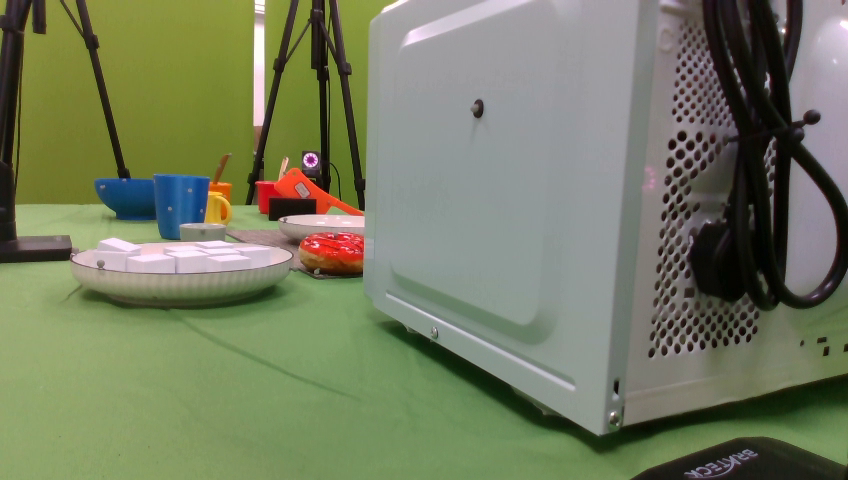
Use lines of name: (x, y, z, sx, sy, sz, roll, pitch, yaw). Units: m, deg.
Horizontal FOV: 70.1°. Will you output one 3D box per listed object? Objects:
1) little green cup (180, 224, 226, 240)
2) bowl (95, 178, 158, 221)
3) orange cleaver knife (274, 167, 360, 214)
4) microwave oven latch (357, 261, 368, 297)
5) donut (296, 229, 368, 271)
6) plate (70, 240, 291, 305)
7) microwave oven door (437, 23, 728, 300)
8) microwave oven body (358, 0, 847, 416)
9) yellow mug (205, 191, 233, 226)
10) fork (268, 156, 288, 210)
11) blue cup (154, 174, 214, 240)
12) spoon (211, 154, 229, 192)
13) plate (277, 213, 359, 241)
little green cup: (-0.309, -0.001, 0.846, 0.061, 0.038, 0.061, 2, 8, 0)
bowl: (-0.576, -0.081, 1.217, 0.151, 0.077, 0.151, 3, 8, 0)
orange cleaver knife: (-0.238, -0.091, 1.381, 0.212, 0.077, 0.012, 31, 0, -19)
microwave oven latch: (-0.019, 0.033, 0.530, 0.079, 0.029, 0.030, -1, 7, -26)
donut: (-0.106, 0.014, 0.739, 0.099, 0.048, 0.099, 4, 8, 0)
plate: (-0.242, 0.031, 0.618, 0.208, 0.039, 0.207, 2, 8, 0)
microwave oven door: (0.181, -0.072, 0.621, 0.358, 0.243, 0.039, -2, 8, -29)
microwave oven body: (0.211, -0.047, 0.474, 0.444, 0.260, 0.324, -1, 7, -28)
yellow mug: (-0.415, -0.057, 1.132, 0.130, 0.064, 0.100, 6, 8, 16)
fork: (-0.360, -0.144, 1.507, 0.028, 0.018, 0.207, 1, 49, 0)
blue cup: (-0.391, -0.053, 0.978, 0.093, 0.100, 0.092, 3, 6, 0)
spoon: (-0.431, -0.115, 1.253, 0.042, 0.193, 0.021, -3, 54, -33)
plate: (-0.135, -0.017, 0.992, 0.209, 0.038, 0.209, 2, 8, 0)
